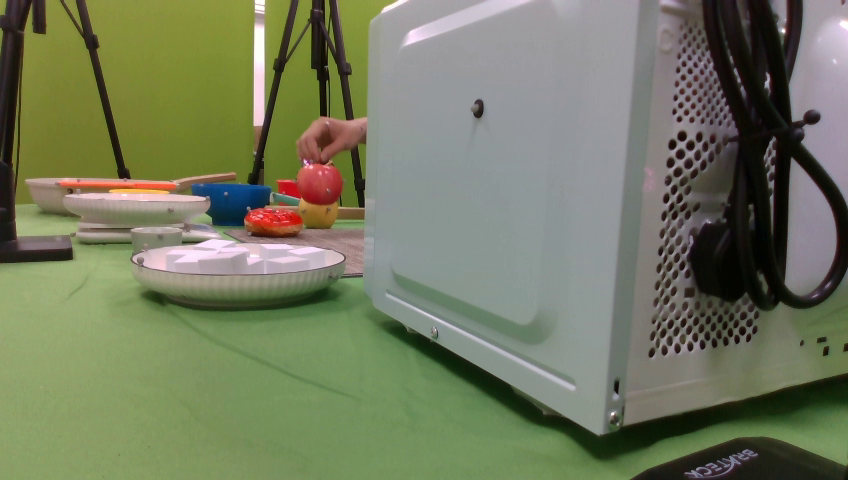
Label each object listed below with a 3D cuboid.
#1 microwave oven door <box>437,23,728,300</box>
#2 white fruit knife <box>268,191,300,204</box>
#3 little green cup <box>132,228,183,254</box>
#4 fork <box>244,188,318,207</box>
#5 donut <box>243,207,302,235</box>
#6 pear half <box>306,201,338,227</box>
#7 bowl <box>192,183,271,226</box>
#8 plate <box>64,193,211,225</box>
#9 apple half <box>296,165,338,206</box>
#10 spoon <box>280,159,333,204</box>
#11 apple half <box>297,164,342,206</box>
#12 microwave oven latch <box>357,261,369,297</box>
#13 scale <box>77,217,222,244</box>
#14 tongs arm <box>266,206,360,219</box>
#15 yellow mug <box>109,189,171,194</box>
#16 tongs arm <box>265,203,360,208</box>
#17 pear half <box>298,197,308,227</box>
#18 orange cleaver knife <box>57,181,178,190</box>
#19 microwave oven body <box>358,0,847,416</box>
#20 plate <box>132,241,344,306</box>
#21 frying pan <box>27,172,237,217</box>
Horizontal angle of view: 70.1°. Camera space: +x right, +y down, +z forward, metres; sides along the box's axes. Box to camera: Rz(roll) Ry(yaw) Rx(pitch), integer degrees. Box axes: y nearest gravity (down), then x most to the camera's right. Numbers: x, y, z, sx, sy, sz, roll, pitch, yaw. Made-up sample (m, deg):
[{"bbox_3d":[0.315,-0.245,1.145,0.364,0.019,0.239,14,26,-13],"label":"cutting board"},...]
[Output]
[{"bbox_3d":[0.180,-0.073,0.621,0.358,0.243,0.039,-2,8,-29],"label":"microwave oven door"},{"bbox_3d":[-0.364,-0.105,1.464,0.208,0.027,0.016,15,-1,-34],"label":"white fruit knife"},{"bbox_3d":[-0.342,0.006,0.779,0.061,0.038,0.061,2,8,0],"label":"little green cup"},{"bbox_3d":[-0.356,-0.105,1.526,0.208,0.018,0.028,16,-5,-41],"label":"fork"},{"bbox_3d":[-0.261,-0.032,1.043,0.099,0.048,0.099,4,9,0],"label":"donut"},{"bbox_3d":[-0.200,-0.079,1.203,0.056,0.110,0.076,3,11,1],"label":"pear half"},{"bbox_3d":[-0.382,-0.071,1.202,0.151,0.077,0.151,3,7,0],"label":"bowl"},{"bbox_3d":[-0.446,-0.050,0.952,0.209,0.038,0.209,2,7,0],"label":"plate"},{"bbox_3d":[-0.199,-0.100,1.109,0.082,0.081,0.032,-1,5,-25],"label":"apple half"},{"bbox_3d":[-0.316,-0.159,1.640,0.194,0.022,0.041,-50,32,-20],"label":"spoon"},{"bbox_3d":[-0.182,-0.098,1.074,0.081,0.074,0.053,6,1,-24],"label":"apple half"},{"bbox_3d":[-0.019,0.033,0.530,0.079,0.029,0.030,-1,7,-27],"label":"microwave oven latch"},{"bbox_3d":[-0.434,-0.019,0.963,0.202,0.031,0.148,-1,8,-27],"label":"scale"},{"bbox_3d":[-0.173,-0.061,1.362,0.387,0.026,0.050,-1,4,-31],"label":"tongs arm"},{"bbox_3d":[-0.519,-0.055,1.080,0.099,0.064,0.131,7,10,26],"label":"yellow mug"},{"bbox_3d":[-0.210,-0.070,1.439,0.389,0.027,0.028,1,0,-17],"label":"tongs arm"},{"bbox_3d":[-0.235,-0.071,1.207,0.031,0.088,0.070,3,10,1],"label":"pear half"},{"bbox_3d":[-0.600,-0.109,1.189,0.212,0.012,0.077,-1,11,-26],"label":"orange cleaver knife"},{"bbox_3d":[0.211,-0.047,0.474,0.444,0.260,0.324,-1,7,-28],"label":"microwave oven body"},{"bbox_3d":[-0.187,0.033,0.625,0.208,0.039,0.207,2,7,0],"label":"plate"},{"bbox_3d":[-0.624,-0.118,1.387,0.305,0.102,0.490,8,17,32],"label":"frying pan"}]
